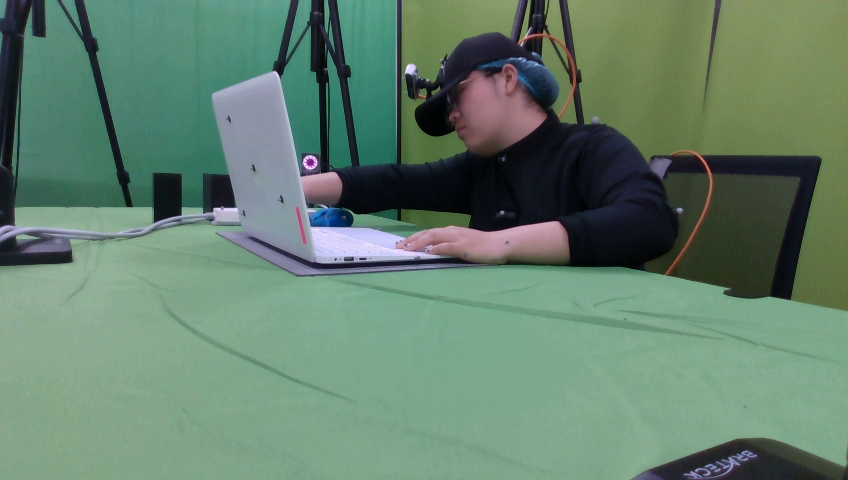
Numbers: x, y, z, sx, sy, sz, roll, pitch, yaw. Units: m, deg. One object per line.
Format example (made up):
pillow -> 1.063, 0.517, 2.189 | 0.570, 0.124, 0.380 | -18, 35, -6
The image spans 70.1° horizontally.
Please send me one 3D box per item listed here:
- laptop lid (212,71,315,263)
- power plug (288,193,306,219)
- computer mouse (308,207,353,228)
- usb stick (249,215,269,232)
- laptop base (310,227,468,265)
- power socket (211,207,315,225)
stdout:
laptop lid -> -0.240, -0.104, 0.864 | 0.013, 0.241, 0.355 | -16, 17, -28
power plug -> -0.282, -0.076, 1.340 | 0.035, 0.052, 0.072 | 3, 7, -19
computer mouse -> -0.202, -0.046, 1.275 | 0.062, 0.041, 0.117 | 9, 14, 23
usb stick -> -0.293, -0.028, 1.079 | 0.021, 0.027, 0.059 | -1, 13, -36
laptop base -> -0.122, 0.007, 0.953 | 0.237, 0.023, 0.352 | 2, 6, -31
power socket -> -0.334, -0.051, 1.282 | 0.228, 0.032, 0.072 | -1, 9, -28
